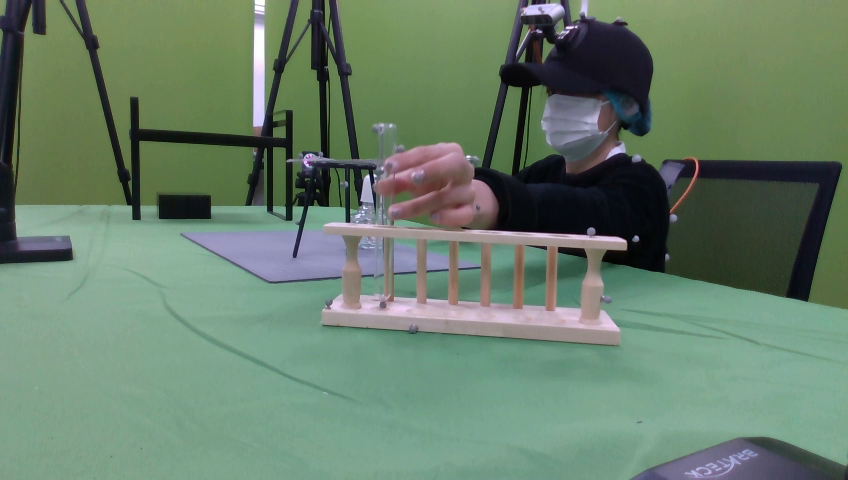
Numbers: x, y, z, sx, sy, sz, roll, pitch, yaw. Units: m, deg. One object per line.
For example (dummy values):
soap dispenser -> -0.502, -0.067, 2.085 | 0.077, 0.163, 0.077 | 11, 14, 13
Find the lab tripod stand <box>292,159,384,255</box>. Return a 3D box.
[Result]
lab tripod stand -> -0.105, -0.039, 0.797 | 0.148, 0.131, 0.148 | 2, 5, 0

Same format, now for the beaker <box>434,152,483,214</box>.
beaker -> 0.060, -0.098, 1.031 | 0.084, 0.100, 0.074 | -3, 11, -5

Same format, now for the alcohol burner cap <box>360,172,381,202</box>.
alcohol burner cap -> -0.081, -0.084, 0.949 | 0.034, 0.048, 0.034 | 7, 7, -1

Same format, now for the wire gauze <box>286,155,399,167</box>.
wire gauze -> -0.101, -0.105, 0.788 | 0.121, 0.011, 0.125 | 4, 6, 6

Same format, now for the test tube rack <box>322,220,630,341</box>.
test tube rack -> 0.041, 0.030, 0.512 | 0.242, 0.085, 0.067 | 3, 7, 5

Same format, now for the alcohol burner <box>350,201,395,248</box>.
alcohol burner -> -0.084, -0.048, 0.953 | 0.078, 0.119, 0.078 | 1, 6, 0

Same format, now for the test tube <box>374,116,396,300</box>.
test tube -> -0.032, -0.024, 0.492 | 0.017, 0.150, 0.017 | 2, 12, 0
